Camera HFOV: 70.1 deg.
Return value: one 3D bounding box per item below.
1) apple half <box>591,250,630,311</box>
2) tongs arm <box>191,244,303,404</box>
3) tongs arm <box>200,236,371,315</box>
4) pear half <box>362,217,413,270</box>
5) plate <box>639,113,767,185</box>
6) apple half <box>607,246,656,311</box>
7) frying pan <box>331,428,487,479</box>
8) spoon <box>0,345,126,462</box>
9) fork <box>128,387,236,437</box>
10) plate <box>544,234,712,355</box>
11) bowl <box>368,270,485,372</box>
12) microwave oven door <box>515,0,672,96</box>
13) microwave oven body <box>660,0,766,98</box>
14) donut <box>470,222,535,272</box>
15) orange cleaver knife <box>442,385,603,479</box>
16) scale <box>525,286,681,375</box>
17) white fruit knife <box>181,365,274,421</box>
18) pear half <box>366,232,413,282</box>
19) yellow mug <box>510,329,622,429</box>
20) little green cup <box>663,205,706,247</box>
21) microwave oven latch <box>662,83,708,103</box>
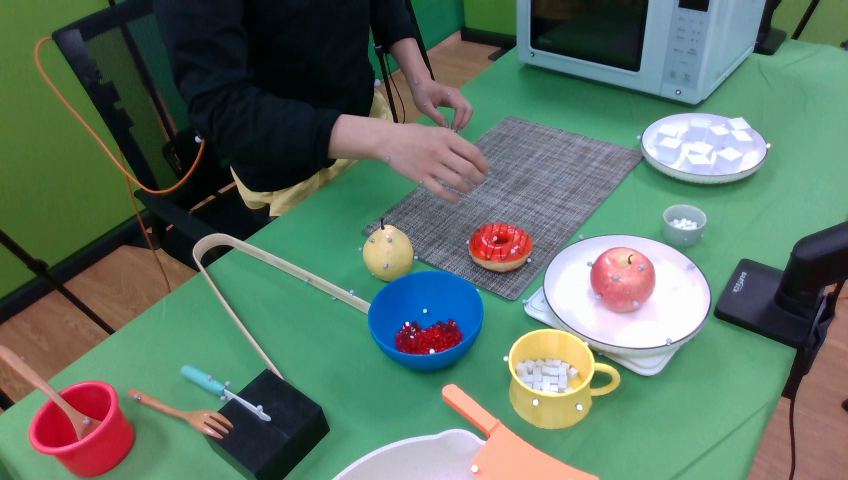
[{"bbox_3d":[0.231,0.057,0.772,0.033,0.081,0.080,-10,40,-6],"label":"apple half"},{"bbox_3d":[-0.268,0.110,0.882,0.028,0.028,0.384,-36,46,-18],"label":"tongs arm"},{"bbox_3d":[-0.209,0.062,0.924,0.381,0.026,0.051,22,53,32],"label":"tongs arm"},{"bbox_3d":[-0.059,0.002,0.913,0.076,0.110,0.055,-14,40,-13],"label":"pear half"},{"bbox_3d":[0.489,-0.157,1.074,0.207,0.039,0.206,-4,40,4],"label":"plate"},{"bbox_3d":[0.269,0.049,0.777,0.053,0.075,0.080,-10,38,-6],"label":"apple half"},{"bbox_3d":[-0.089,0.306,0.564,0.487,0.103,0.306,10,41,7],"label":"frying pan"},{"bbox_3d":[-0.434,0.192,0.720,0.194,0.021,0.042,47,53,-7],"label":"spoon"},{"bbox_3d":[-0.305,0.207,0.744,0.206,0.019,0.028,3,41,36],"label":"fork"},{"bbox_3d":[0.262,0.072,0.792,0.209,0.038,0.208,-4,41,4],"label":"plate"},{"bbox_3d":[0.007,0.118,0.791,0.151,0.077,0.150,-5,40,4],"label":"bowl"},{"bbox_3d":[0.343,-0.455,1.259,0.353,0.245,0.039,26,51,33],"label":"microwave oven door"},{"bbox_3d":[0.472,-0.513,1.317,0.438,0.261,0.327,26,51,34],"label":"microwave oven body"},{"bbox_3d":[0.119,0.009,0.923,0.099,0.048,0.098,-4,38,3],"label":"donut"},{"bbox_3d":[0.086,0.219,0.612,0.209,0.012,0.077,28,49,35],"label":"orange cleaver knife"},{"bbox_3d":[0.254,0.091,0.821,0.199,0.032,0.149,28,51,35],"label":"scale"},{"bbox_3d":[-0.246,0.188,0.747,0.205,0.027,0.016,9,41,41],"label":"white fruit knife"},{"bbox_3d":[-0.048,0.031,0.893,0.071,0.088,0.031,-16,40,-13],"label":"pear half"},{"bbox_3d":[0.168,0.164,0.721,0.130,0.064,0.099,0,40,8],"label":"yellow mug"},{"bbox_3d":[0.396,-0.020,0.926,0.061,0.039,0.061,-4,40,4],"label":"little green cup"},{"bbox_3d":[0.517,-0.296,1.204,0.078,0.029,0.030,28,52,35],"label":"microwave oven latch"}]
